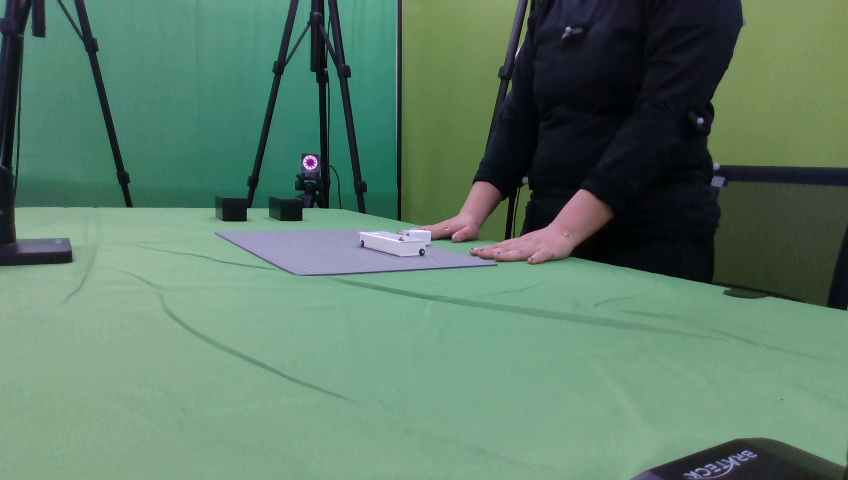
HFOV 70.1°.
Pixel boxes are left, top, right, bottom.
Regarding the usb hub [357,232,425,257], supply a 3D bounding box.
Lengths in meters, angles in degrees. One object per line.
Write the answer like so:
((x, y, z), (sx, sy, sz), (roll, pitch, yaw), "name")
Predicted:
((-0.055, 0.005, 0.947), (0.050, 0.025, 0.124), (-3, 9, -36), "usb hub")

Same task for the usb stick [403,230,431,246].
((-0.018, -0.003, 1.020), (0.059, 0.027, 0.021), (-6, 15, -34), "usb stick")
